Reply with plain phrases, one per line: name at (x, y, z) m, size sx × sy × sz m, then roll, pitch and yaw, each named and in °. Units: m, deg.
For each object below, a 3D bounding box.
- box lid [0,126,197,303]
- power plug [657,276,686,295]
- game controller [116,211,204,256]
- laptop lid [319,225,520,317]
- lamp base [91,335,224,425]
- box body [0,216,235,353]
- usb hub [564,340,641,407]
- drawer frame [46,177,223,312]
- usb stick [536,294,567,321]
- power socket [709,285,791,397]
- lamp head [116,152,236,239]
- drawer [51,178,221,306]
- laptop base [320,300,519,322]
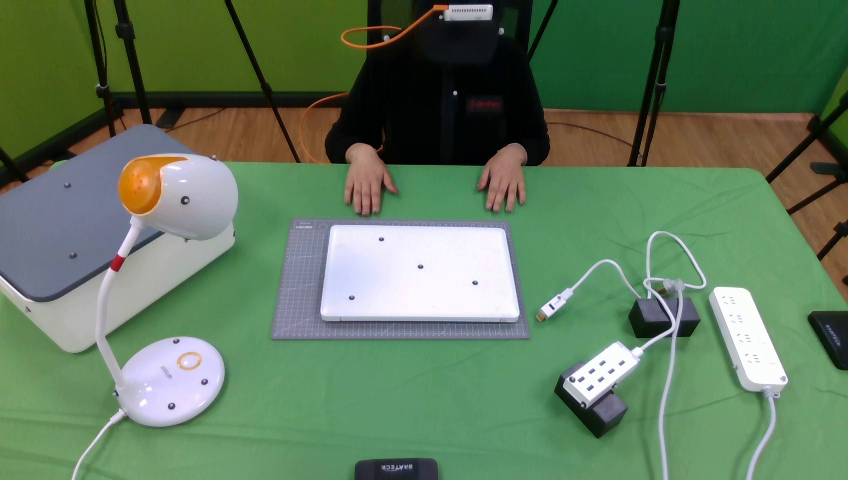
box lid at (-0.535, -0.064, 1.013) m, size 0.262 × 0.015 × 0.371 m, roll 31°, pitch 50°, yaw 21°
power plug at (0.450, 0.087, 1.113) m, size 0.073 × 0.052 × 0.035 m, roll -13°, pitch 72°, yaw -55°
game controller at (-0.500, -0.018, 1.142) m, size 0.154 × 0.051 × 0.097 m, roll 24°, pitch 20°, yaw 19°
laptop lid at (-0.008, 0.052, 1.131) m, size 0.357 × 0.013 × 0.240 m, roll 2°, pitch 43°, yaw -2°
lamp base at (-0.401, 0.171, 0.892) m, size 0.160 × 0.181 × 0.179 m, roll 30°, pitch 53°, yaw 23°
box body at (-0.550, -0.007, 1.068) m, size 0.253 × 0.161 × 0.363 m, roll 30°, pitch 51°, yaw 23°
usb hub at (0.278, 0.205, 0.944) m, size 0.125 × 0.025 × 0.049 m, roll -27°, pitch 52°, yaw -28°
drawer frame at (-0.519, 0.001, 1.106) m, size 0.201 × 0.083 × 0.213 m, roll 26°, pitch 51°, yaw 21°
usb stick at (0.226, 0.123, 1.083) m, size 0.059 × 0.027 × 0.021 m, roll -37°, pitch 78°, yaw -8°
power socket at (0.567, 0.168, 1.064) m, size 0.072 × 0.033 × 0.225 m, roll 2°, pitch 46°, yaw 0°
lamp head at (-0.315, -0.057, 0.748) m, size 0.112 × 0.112 × 0.123 m, roll 26°, pitch 10°, yaw 20°
drawer at (-0.520, -0.001, 1.107) m, size 0.194 × 0.073 × 0.211 m, roll 26°, pitch 50°, yaw 21°
laptop base at (-0.009, 0.062, 1.138) m, size 0.354 × 0.023 × 0.234 m, roll 1°, pitch 42°, yaw -3°
